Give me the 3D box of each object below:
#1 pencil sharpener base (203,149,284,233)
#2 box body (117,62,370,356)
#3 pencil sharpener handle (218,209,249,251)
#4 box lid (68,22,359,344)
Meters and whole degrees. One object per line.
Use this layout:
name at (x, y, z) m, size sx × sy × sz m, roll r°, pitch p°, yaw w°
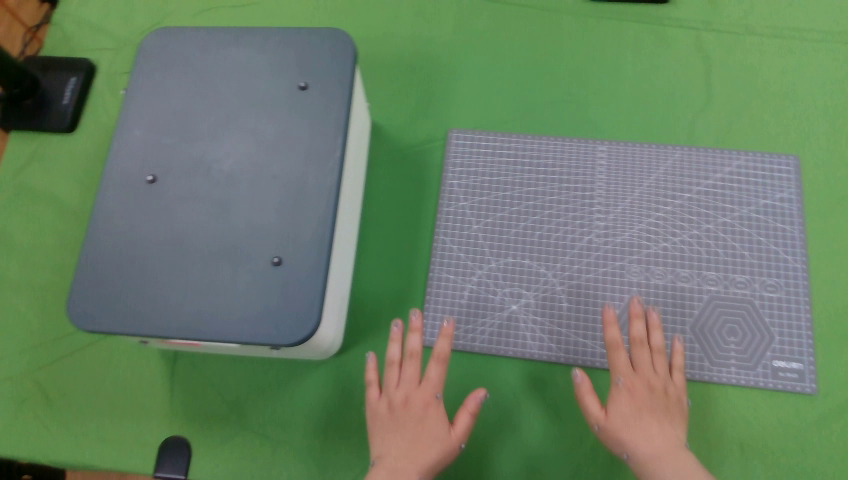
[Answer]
pencil sharpener base at (-0.219, -0.055, 0.744) m, size 0.061 × 0.108 × 0.076 m, roll 1°, pitch 72°, yaw 4°
box body at (-0.210, -0.052, 0.720) m, size 0.254 × 0.161 × 0.361 m, roll 3°, pitch 71°, yaw 5°
pencil sharpener handle at (-0.224, -0.010, 0.717) m, size 0.036 × 0.068 × 0.030 m, roll 4°, pitch 72°, yaw -4°
box lid at (-0.216, -0.079, 0.650) m, size 0.263 × 0.015 × 0.369 m, roll 3°, pitch 72°, yaw 6°
